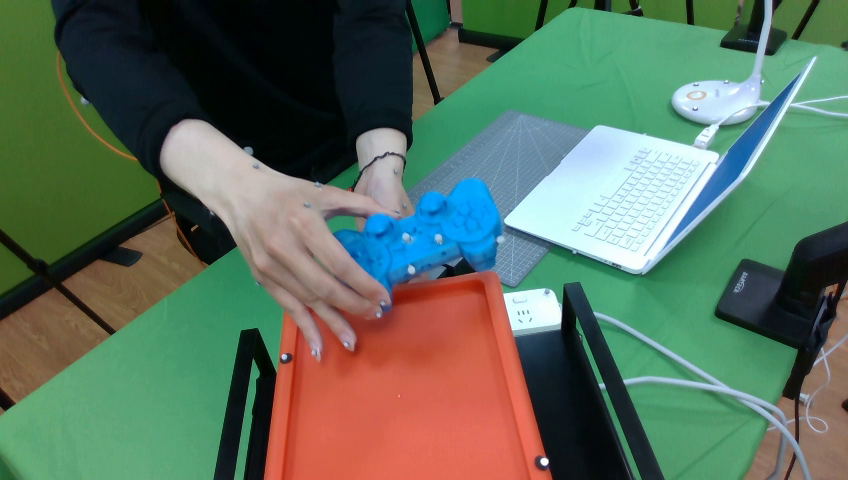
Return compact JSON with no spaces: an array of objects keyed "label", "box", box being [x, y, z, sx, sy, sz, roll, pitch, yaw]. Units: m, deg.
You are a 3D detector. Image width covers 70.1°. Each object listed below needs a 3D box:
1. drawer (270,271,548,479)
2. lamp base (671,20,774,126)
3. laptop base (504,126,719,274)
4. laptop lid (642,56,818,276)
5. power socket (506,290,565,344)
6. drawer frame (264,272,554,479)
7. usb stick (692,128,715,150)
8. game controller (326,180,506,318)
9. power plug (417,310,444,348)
[{"label":"drawer","box":[-0.018,0.132,0.498,0.195,0.073,0.210,-7,41,-1]},{"label":"lamp base","box":[0.581,-0.332,1.154,0.179,0.181,0.160,2,42,7]},{"label":"laptop base","box":[0.325,-0.084,1.027,0.233,0.023,0.355,21,48,32]},{"label":"laptop lid","box":[0.445,-0.108,0.876,0.013,0.241,0.357,39,53,12]},{"label":"power socket","box":[0.081,0.112,0.822,0.227,0.033,0.072,-7,40,0]},{"label":"drawer frame","box":[-0.016,0.134,0.494,0.202,0.083,0.212,-8,41,-2]},{"label":"usb stick","box":[0.501,-0.176,1.091,0.021,0.027,0.059,29,55,28]},{"label":"game controller","box":[-0.007,0.000,0.504,0.155,0.052,0.096,-22,54,-1]},{"label":"power plug","box":[0.007,0.123,0.784,0.035,0.053,0.072,-1,42,8]}]
